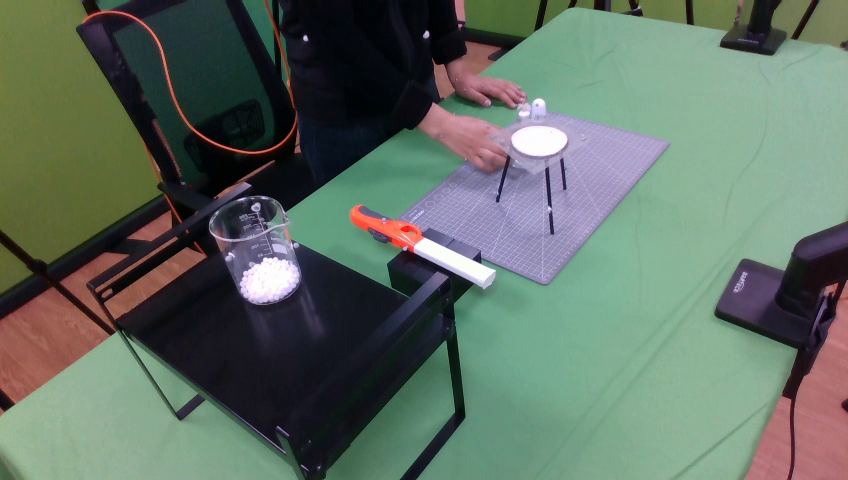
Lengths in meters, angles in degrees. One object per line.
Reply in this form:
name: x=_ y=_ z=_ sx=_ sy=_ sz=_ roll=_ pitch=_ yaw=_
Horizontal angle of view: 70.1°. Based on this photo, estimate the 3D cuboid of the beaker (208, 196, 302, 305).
beaker: x=-0.173 y=0.014 z=0.647 sx=0.084 sy=0.101 sz=0.073 roll=-1 pitch=41 yaw=8

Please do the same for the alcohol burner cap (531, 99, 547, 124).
alcohol burner cap: x=0.234 y=-0.264 z=1.231 sx=0.034 sy=0.048 sz=0.033 roll=-5 pitch=41 yaw=5

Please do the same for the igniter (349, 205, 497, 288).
igniter: x=-0.013 y=0.004 z=0.897 sx=0.274 sy=0.025 sz=0.057 roll=25 pitch=44 yaw=32

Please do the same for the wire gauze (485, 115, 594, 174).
wire gauze: x=0.177 y=-0.154 z=0.935 sx=0.122 sy=0.011 sz=0.124 roll=-26 pitch=45 yaw=-21

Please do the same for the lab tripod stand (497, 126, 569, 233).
lab tripod stand: x=0.188 y=-0.104 z=0.979 sx=0.148 sy=0.132 sz=0.147 roll=-3 pitch=41 yaw=3

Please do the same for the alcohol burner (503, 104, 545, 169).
alcohol burner: x=0.181 y=-0.191 z=1.098 sx=0.078 sy=0.119 sz=0.077 roll=-5 pitch=38 yaw=4
